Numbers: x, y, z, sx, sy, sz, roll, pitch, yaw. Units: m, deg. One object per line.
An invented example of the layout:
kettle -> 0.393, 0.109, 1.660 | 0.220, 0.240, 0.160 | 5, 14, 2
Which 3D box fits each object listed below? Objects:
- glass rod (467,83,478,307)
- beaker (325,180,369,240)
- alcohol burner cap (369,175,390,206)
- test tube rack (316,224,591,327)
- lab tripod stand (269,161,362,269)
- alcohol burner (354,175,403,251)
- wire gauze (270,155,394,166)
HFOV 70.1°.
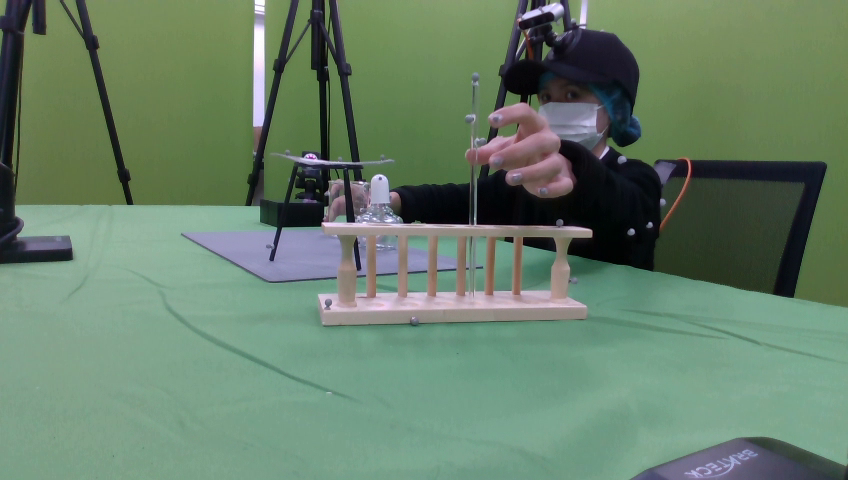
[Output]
glass rod -> 0.042, -0.033, 0.524 | 0.008, 0.199, 0.008 | 0, 14, 0
beaker -> -0.133, -0.052, 1.058 | 0.074, 0.100, 0.083 | -3, 10, -36
alcohol burner cap -> -0.069, -0.077, 0.939 | 0.034, 0.048, 0.034 | -1, 6, 0
test tube rack -> 0.026, 0.028, 0.555 | 0.243, 0.085, 0.066 | 1, 7, -15
lab tripod stand -> -0.125, -0.036, 0.794 | 0.148, 0.131, 0.148 | 5, 7, 0
alcohol burner -> -0.072, -0.042, 0.944 | 0.078, 0.119, 0.078 | 1, 9, 0
wire gauze -> -0.122, -0.102, 0.785 | 0.122, 0.011, 0.124 | -3, 10, -39
